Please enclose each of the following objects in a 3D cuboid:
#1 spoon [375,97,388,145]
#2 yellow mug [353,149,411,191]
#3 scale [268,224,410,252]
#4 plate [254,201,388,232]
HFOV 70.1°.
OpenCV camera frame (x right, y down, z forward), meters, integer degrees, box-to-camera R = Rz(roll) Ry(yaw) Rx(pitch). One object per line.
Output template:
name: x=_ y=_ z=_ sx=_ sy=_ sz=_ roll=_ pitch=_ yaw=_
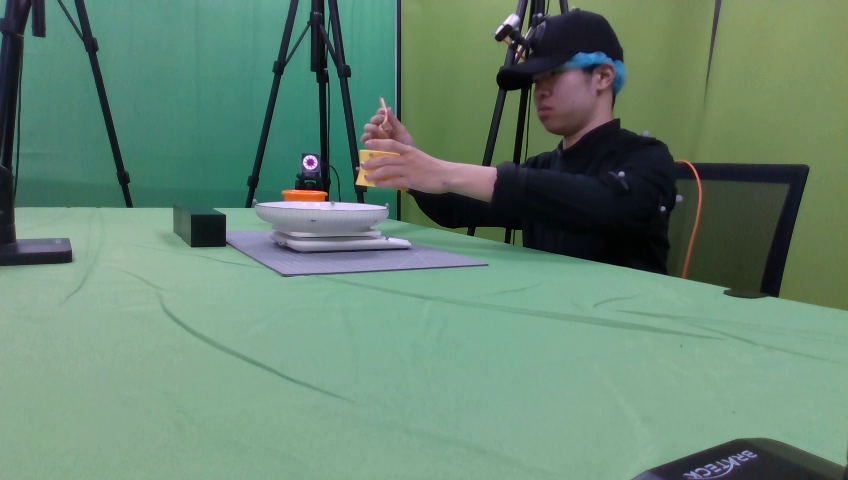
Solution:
spoon: x=-0.087 y=-0.251 z=1.254 sx=0.021 sy=0.042 sz=0.193 roll=-21 pitch=36 yaw=14
yellow mug: x=-0.072 y=-0.130 z=1.138 sx=0.099 sy=0.064 sz=0.131 roll=10 pitch=5 yaw=19
scale: x=-0.137 y=-0.006 z=0.980 sx=0.202 sy=0.031 sz=0.148 roll=-1 pitch=8 yaw=-30
plate: x=-0.161 y=-0.038 z=0.961 sx=0.209 sy=0.038 sz=0.209 roll=2 pitch=6 yaw=0
